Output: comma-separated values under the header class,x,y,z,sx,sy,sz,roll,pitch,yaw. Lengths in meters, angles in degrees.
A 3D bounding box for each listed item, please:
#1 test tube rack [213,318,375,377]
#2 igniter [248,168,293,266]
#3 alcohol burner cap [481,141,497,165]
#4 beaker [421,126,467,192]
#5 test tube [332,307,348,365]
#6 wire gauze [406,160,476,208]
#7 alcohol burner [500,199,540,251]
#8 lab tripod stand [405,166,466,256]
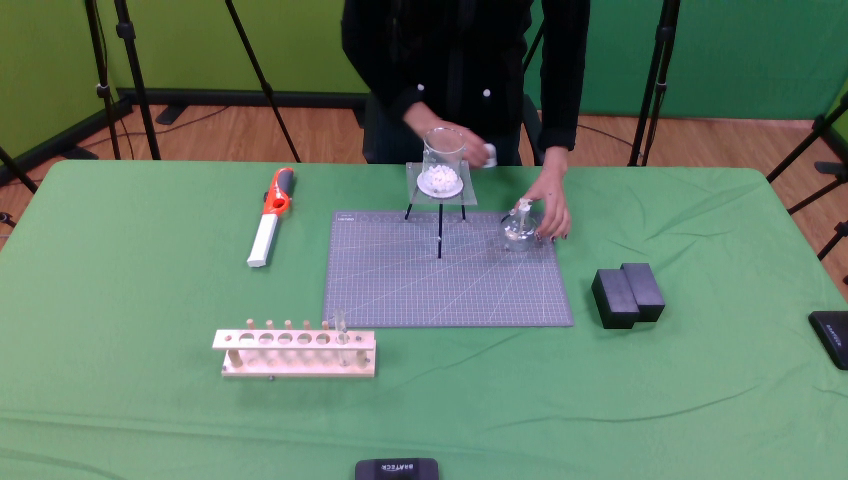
class,x,y,z,sx,sy,sz,roll,pitch,yaw
test tube rack,-0.202,0.169,0.977,0.242,0.085,0.066,1,46,-3
igniter,-0.307,-0.055,1.225,0.057,0.025,0.275,-3,45,6
alcohol burner cap,0.133,-0.182,1.244,0.034,0.048,0.033,-2,45,2
beaker,0.031,-0.146,1.100,0.074,0.101,0.083,-17,50,-20
test tube,-0.128,0.151,0.931,0.017,0.151,0.017,1,50,-2
wire gauze,0.031,-0.107,1.130,0.125,0.011,0.120,1,48,-7
alcohol burner,0.189,-0.036,1.178,0.078,0.119,0.077,2,48,-2
lab tripod stand,0.030,-0.063,1.180,0.148,0.132,0.147,3,47,-3
